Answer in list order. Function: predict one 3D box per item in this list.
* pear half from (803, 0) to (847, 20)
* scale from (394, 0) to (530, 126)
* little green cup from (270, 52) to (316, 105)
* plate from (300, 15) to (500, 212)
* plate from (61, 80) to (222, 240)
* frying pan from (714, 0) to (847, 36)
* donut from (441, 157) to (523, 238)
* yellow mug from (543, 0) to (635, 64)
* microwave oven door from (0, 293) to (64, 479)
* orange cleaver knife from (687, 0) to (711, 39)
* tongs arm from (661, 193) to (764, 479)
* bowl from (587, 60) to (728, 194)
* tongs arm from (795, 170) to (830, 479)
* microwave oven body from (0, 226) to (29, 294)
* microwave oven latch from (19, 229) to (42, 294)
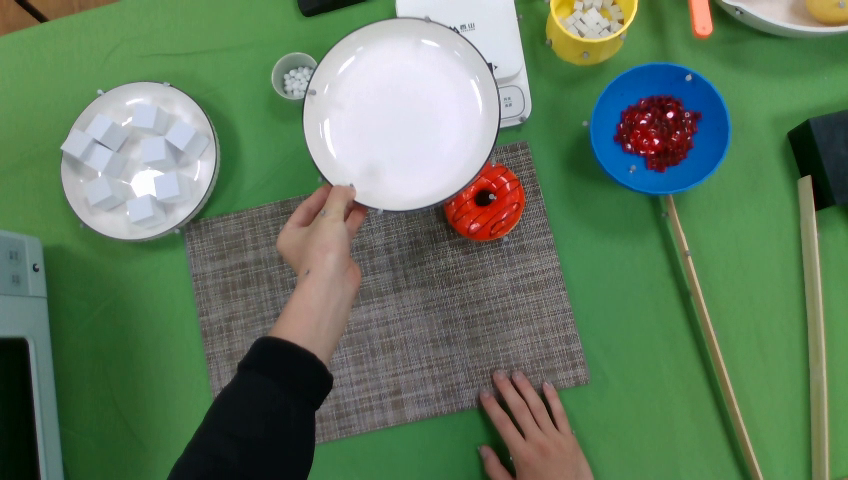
[{"bbox_3d":[0.475,-0.287,0.680,0.076,0.110,0.056,23,86,12],"label":"pear half"},{"bbox_3d":[0.046,-0.236,0.758,0.148,0.031,0.200,-9,83,5],"label":"scale"},{"bbox_3d":[-0.159,-0.202,0.770,0.061,0.039,0.061,-1,82,6],"label":"little green cup"},{"bbox_3d":[-0.024,-0.131,0.639,0.209,0.038,0.208,0,84,5],"label":"plate"},{"bbox_3d":[-0.356,-0.101,0.776,0.207,0.039,0.207,-1,83,5],"label":"plate"},{"bbox_3d":[0.513,-0.297,0.684,0.307,0.103,0.484,-40,73,1],"label":"frying pan"},{"bbox_3d":[0.068,-0.051,0.723,0.099,0.048,0.099,-1,84,7],"label":"donut"},{"bbox_3d":[0.186,-0.284,0.733,0.130,0.064,0.100,44,89,10],"label":"yellow mug"},{"bbox_3d":[-0.472,0.228,0.625,0.039,0.244,0.354,-11,82,4],"label":"microwave oven door"},{"bbox_3d":[0.316,-0.334,0.690,0.077,0.012,0.210,-9,83,7],"label":"orange cleaver knife"},{"bbox_3d":[0.346,0.125,0.684,0.051,0.026,0.383,-13,83,-1],"label":"tongs arm"},{"bbox_3d":[0.259,-0.120,0.700,0.151,0.077,0.151,-1,84,5],"label":"bowl"},{"bbox_3d":[0.431,0.113,0.681,0.028,0.028,0.386,2,84,-2],"label":"tongs arm"},{"bbox_3d":[-0.622,0.215,0.646,0.326,0.261,0.440,-11,82,3],"label":"microwave oven body"},{"bbox_3d":[-0.499,0.028,0.755,0.030,0.029,0.079,-9,83,4],"label":"microwave oven latch"}]
